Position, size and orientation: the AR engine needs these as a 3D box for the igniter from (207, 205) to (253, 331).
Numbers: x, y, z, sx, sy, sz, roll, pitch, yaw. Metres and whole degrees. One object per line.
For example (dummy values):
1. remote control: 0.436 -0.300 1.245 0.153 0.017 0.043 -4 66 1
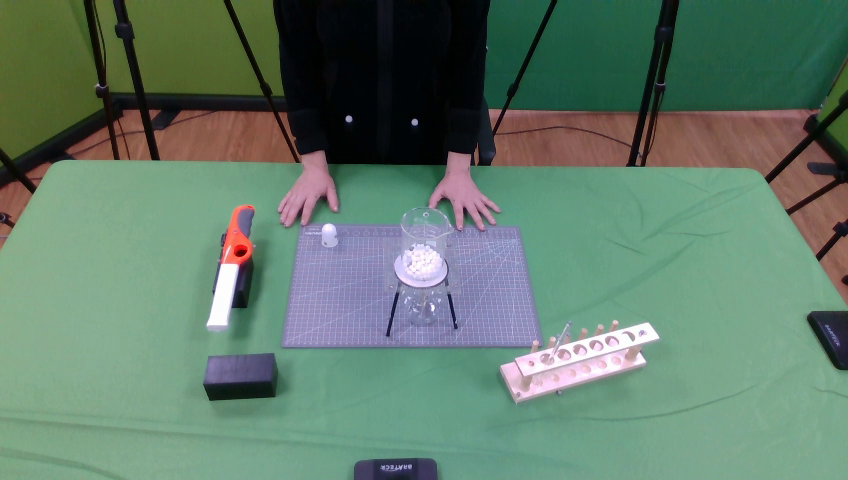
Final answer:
1. igniter: -0.339 0.038 1.066 0.057 0.025 0.274 2 48 -6

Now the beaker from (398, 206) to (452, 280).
1. beaker: 0.000 0.008 0.950 0.084 0.101 0.073 10 45 6

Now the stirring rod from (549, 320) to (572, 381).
1. stirring rod: 0.202 0.168 0.901 0.006 0.177 0.014 -16 54 -10

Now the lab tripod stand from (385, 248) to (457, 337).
1. lab tripod stand: -0.010 0.087 1.032 0.148 0.132 0.147 1 45 -1

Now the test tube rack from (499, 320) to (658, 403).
1. test tube rack: 0.252 0.187 0.994 0.243 0.085 0.066 -12 48 -15

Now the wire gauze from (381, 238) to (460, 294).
1. wire gauze: -0.008 0.042 0.985 0.125 0.011 0.120 -1 43 -2

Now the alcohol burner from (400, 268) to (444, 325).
1. alcohol burner: -0.003 0.092 1.042 0.078 0.120 0.077 1 46 -1

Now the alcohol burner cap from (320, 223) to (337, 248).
1. alcohol burner cap: -0.187 -0.011 1.176 0.034 0.048 0.033 2 46 -2
